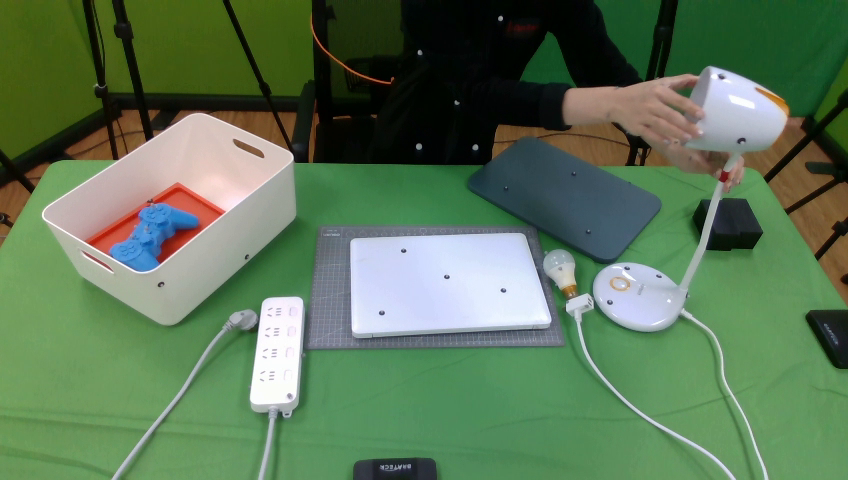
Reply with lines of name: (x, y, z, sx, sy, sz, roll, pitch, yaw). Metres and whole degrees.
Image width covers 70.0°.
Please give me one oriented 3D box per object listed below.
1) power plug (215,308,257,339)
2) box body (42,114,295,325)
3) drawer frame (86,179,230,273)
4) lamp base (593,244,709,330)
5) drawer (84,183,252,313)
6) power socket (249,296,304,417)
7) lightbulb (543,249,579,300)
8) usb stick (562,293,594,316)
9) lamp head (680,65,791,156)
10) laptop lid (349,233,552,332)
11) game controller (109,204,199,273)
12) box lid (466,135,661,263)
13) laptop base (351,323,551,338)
power plug: (-0.317, 0.143, 1.024, 0.072, 0.053, 0.035, -33, 58, -8)
box body: (-0.437, -0.046, 1.110, 0.253, 0.161, 0.363, 24, 49, 19)
drawer frame: (-0.453, 0.010, 1.100, 0.201, 0.083, 0.213, 28, 54, 23)
lamp base: (0.411, 0.052, 1.070, 0.179, 0.181, 0.160, 18, 48, 9)
drawer: (-0.457, 0.008, 1.099, 0.194, 0.073, 0.211, 29, 49, 21)
power socket: (-0.239, 0.182, 0.996, 0.072, 0.033, 0.225, -2, 47, -5)
lightbulb: (0.262, 0.067, 1.136, 0.059, 0.060, 0.107, -10, 64, -14)
usb stick: (0.274, 0.118, 1.087, 0.021, 0.059, 0.027, 38, 45, -27)
lamp head: (0.424, -0.165, 0.824, 0.123, 0.113, 0.112, 19, 48, 3)
laptop lid: (0.040, 0.070, 1.119, 0.357, 0.013, 0.240, -1, 44, -5)
game controller: (-0.467, -0.005, 1.044, 0.097, 0.052, 0.154, 8, 46, 10)
box lid: (0.306, -0.102, 1.327, 0.370, 0.015, 0.263, 32, 52, 25)
laptop base: (0.040, 0.080, 1.126, 0.355, 0.023, 0.234, -2, 43, -6)
